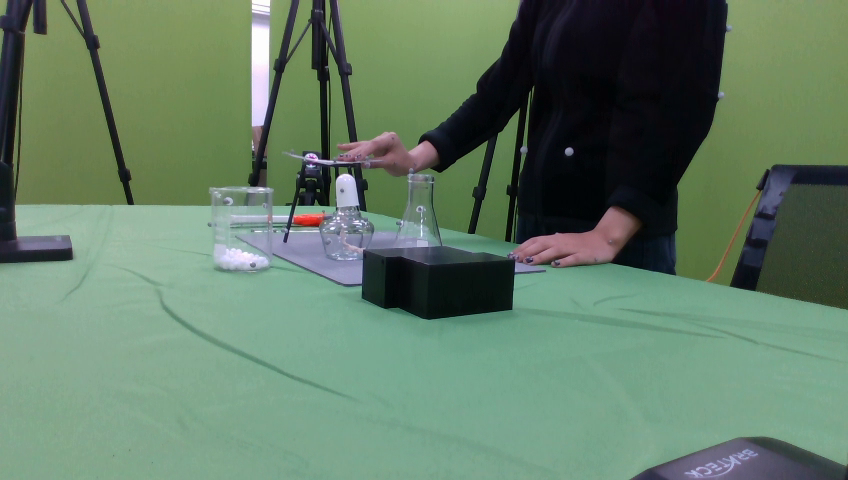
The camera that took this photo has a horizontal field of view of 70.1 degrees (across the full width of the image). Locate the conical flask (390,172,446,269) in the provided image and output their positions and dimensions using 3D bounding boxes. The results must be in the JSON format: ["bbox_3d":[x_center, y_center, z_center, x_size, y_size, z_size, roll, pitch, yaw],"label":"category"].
[{"bbox_3d":[-0.006,-0.027,0.790,0.075,0.122,0.075,2,7,0],"label":"conical flask"}]

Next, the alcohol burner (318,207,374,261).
[{"bbox_3d":[-0.107,-0.032,0.833,0.078,0.119,0.078,1,6,0],"label":"alcohol burner"}]

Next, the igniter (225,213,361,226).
[{"bbox_3d":[-0.257,-0.042,1.221,0.278,0.025,0.057,-2,-2,-32],"label":"igniter"}]

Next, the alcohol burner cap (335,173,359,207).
[{"bbox_3d":[-0.108,-0.068,0.829,0.034,0.048,0.034,-7,4,1],"label":"alcohol burner cap"}]

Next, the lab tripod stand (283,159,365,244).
[{"bbox_3d":[-0.151,-0.063,0.983,0.148,0.131,0.148,4,7,0],"label":"lab tripod stand"}]

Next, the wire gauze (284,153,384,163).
[{"bbox_3d":[-0.146,-0.130,0.977,0.124,0.011,0.122,10,10,41],"label":"wire gauze"}]

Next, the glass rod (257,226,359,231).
[{"bbox_3d":[-0.216,-0.022,1.151,0.201,0.008,0.008,-2,8,-28],"label":"glass rod"}]

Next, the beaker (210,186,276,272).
[{"bbox_3d":[-0.224,-0.014,0.738,0.084,0.100,0.074,4,7,16],"label":"beaker"}]
